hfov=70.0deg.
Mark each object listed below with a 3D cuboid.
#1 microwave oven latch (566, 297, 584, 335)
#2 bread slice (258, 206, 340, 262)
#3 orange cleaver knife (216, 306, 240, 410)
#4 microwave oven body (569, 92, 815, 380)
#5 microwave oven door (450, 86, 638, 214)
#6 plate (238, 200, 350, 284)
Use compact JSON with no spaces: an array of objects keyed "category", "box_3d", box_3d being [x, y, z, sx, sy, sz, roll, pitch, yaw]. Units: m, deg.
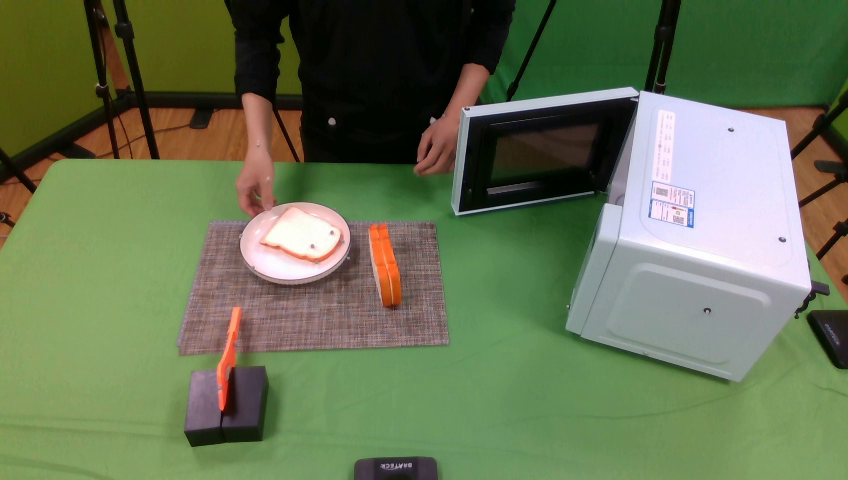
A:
[{"category":"microwave oven latch","box_3d":[0.268,0.126,1.059,0.030,0.029,0.079,16,46,12]},{"category":"bread slice","box_3d":[-0.232,-0.009,1.168,0.134,0.018,0.106,19,51,10]},{"category":"orange cleaver knife","box_3d":[-0.307,0.180,0.957,0.012,0.077,0.210,-2,25,-8]},{"category":"microwave oven body","box_3d":[0.468,-0.022,1.082,0.325,0.261,0.440,15,46,11]},{"category":"microwave oven door","box_3d":[0.234,-0.177,1.207,0.356,0.245,0.039,-10,48,-13]},{"category":"plate","box_3d":[-0.245,0.007,1.156,0.208,0.039,0.206,2,46,-2]}]
